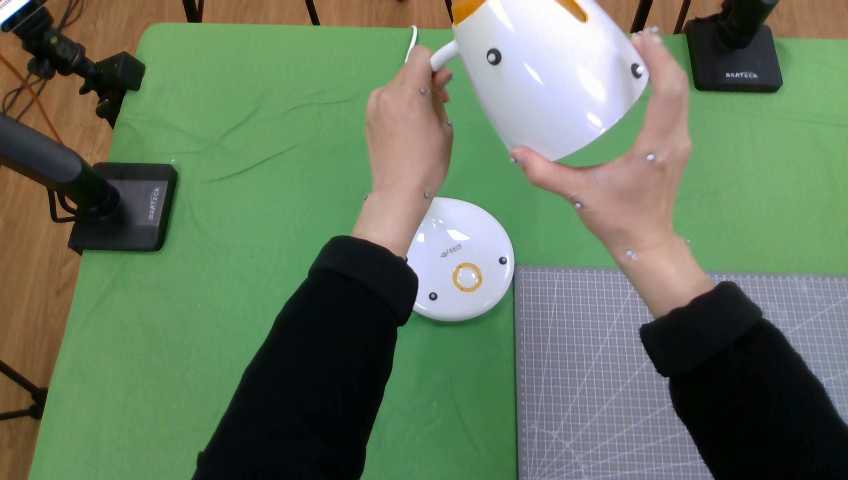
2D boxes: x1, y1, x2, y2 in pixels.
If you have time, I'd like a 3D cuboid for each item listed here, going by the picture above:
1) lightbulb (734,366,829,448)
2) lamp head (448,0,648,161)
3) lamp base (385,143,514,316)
[{"bbox_3d":[0.395,0.182,0.677,0.059,0.060,0.106,-35,57,-13],"label":"lightbulb"},{"bbox_3d":[0.072,-0.133,0.417,0.124,0.112,0.112,44,72,-19],"label":"lamp head"},{"bbox_3d":[0.023,-0.021,0.688,0.160,0.181,0.178,-38,71,-14],"label":"lamp base"}]
